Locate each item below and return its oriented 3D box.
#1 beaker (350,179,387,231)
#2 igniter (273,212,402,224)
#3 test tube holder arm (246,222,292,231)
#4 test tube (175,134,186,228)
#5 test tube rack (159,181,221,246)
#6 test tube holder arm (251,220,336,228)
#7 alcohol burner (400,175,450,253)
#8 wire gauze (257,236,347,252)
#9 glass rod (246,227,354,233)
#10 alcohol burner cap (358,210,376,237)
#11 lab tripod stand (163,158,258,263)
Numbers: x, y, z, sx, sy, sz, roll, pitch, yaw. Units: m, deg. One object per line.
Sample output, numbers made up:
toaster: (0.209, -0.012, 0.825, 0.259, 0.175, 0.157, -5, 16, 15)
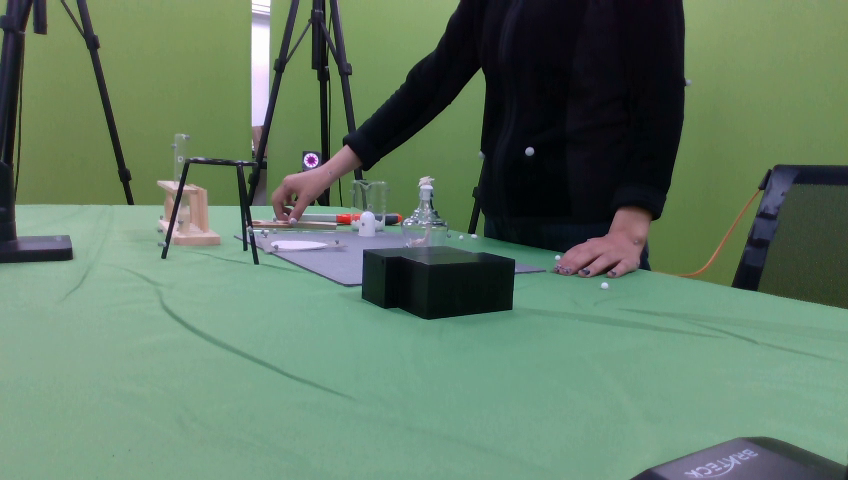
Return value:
beaker: (-0.111, -0.069, 1.204, 0.074, 0.100, 0.084, 2, 8, 0)
igniter: (-0.179, -0.047, 1.289, 0.278, 0.025, 0.057, -1, -2, -25)
test tube holder arm: (-0.291, -0.026, 1.129, 0.088, 0.015, 0.010, -1, 41, -30)
test tube: (-0.388, -0.094, 0.964, 0.017, 0.150, 0.017, 1, 2, 0)
test tube rack: (-0.395, -0.050, 1.010, 0.067, 0.085, 0.241, -2, 8, -28)
test tube holder arm: (-0.254, -0.030, 1.156, 0.179, 0.015, 0.013, -1, 41, -30)
alcohol burner: (0.003, -0.040, 0.933, 0.078, 0.119, 0.078, 2, 9, 0)
wire gauze: (-0.190, 0.005, 0.931, 0.122, 0.011, 0.124, 1, 7, -21)
glass rod: (-0.224, -0.017, 1.108, 0.201, 0.008, 0.008, 1, 7, -27)
alcohol burner cap: (-0.104, -0.030, 1.098, 0.034, 0.048, 0.034, 3, 7, 0)
lab tripod stand: (-0.265, -0.041, 0.802, 0.148, 0.131, 0.148, 4, 6, 0)
